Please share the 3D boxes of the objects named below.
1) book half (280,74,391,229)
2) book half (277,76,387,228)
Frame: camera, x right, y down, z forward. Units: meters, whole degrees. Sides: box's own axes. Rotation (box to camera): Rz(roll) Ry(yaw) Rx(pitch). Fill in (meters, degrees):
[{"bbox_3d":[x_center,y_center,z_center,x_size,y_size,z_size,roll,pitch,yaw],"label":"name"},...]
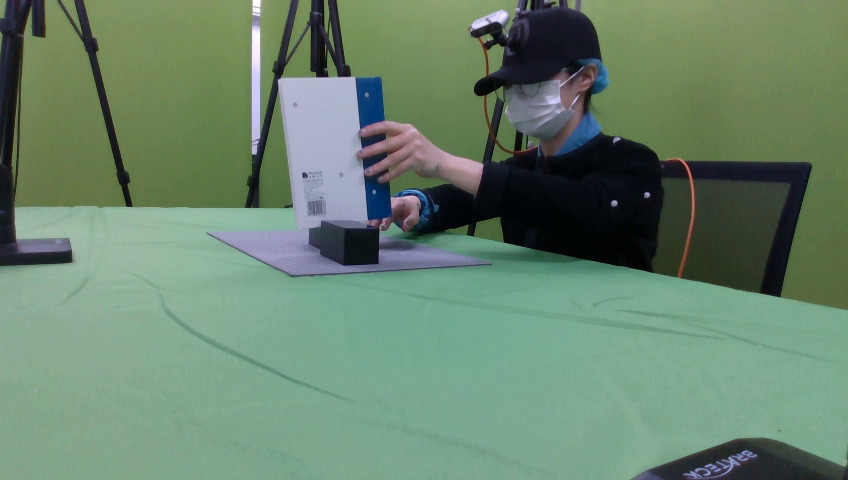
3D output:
[{"bbox_3d":[-0.124,-0.129,0.875,0.149,0.210,0.016,-10,13,-25],"label":"book half"},{"bbox_3d":[-0.130,-0.129,0.880,0.144,0.210,0.007,-10,13,-24],"label":"book half"}]
